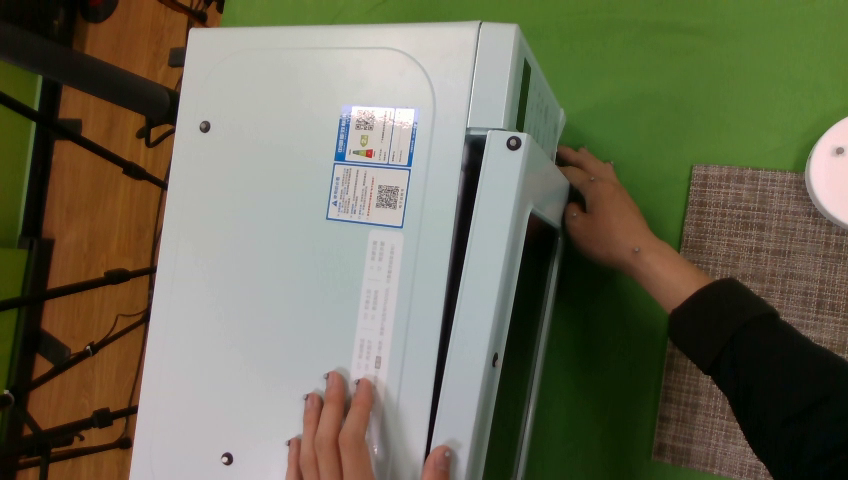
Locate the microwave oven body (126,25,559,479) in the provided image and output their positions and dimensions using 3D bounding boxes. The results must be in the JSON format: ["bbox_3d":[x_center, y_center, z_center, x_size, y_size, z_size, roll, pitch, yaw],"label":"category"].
[{"bbox_3d":[-0.067,0.053,0.597,0.324,0.261,0.441,7,88,21],"label":"microwave oven body"}]

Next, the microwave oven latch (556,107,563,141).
[{"bbox_3d":[0.124,-0.101,0.640,0.030,0.029,0.079,19,93,21],"label":"microwave oven latch"}]

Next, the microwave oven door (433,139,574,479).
[{"bbox_3d":[0.070,0.111,0.535,0.039,0.245,0.355,10,89,22],"label":"microwave oven door"}]

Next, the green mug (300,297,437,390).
[{"bbox_3d":[-0.050,0.103,0.610,0.125,0.105,0.092,-7,84,16],"label":"green mug"}]

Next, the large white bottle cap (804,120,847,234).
[{"bbox_3d":[0.413,-0.058,0.551,0.114,0.018,0.114,-2,84,20],"label":"large white bottle cap"}]
